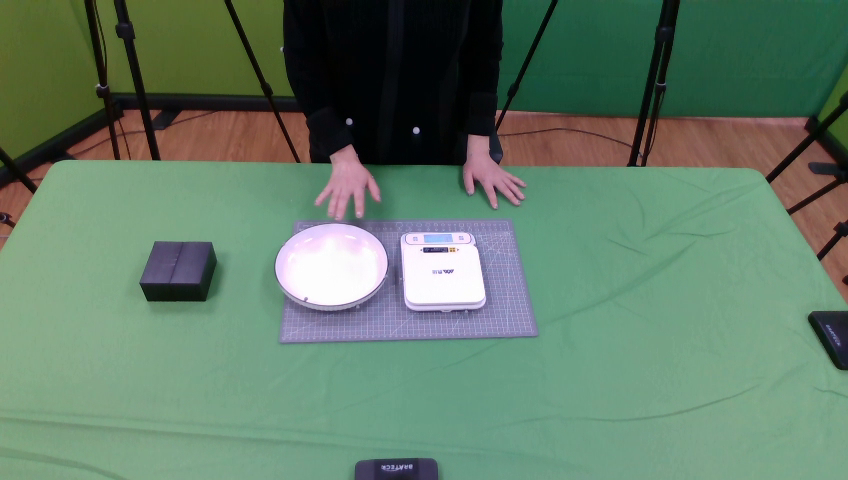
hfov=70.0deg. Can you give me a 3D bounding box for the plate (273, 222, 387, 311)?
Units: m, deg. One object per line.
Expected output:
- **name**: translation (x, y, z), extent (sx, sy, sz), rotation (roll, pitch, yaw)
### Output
- **plate**: translation (-0.172, 0.051, 1.120), extent (0.209, 0.038, 0.208), rotation (2, 46, -2)

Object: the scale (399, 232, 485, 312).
- **scale**: translation (0.031, 0.050, 1.141), extent (0.149, 0.032, 0.199), rotation (-1, 46, -5)
